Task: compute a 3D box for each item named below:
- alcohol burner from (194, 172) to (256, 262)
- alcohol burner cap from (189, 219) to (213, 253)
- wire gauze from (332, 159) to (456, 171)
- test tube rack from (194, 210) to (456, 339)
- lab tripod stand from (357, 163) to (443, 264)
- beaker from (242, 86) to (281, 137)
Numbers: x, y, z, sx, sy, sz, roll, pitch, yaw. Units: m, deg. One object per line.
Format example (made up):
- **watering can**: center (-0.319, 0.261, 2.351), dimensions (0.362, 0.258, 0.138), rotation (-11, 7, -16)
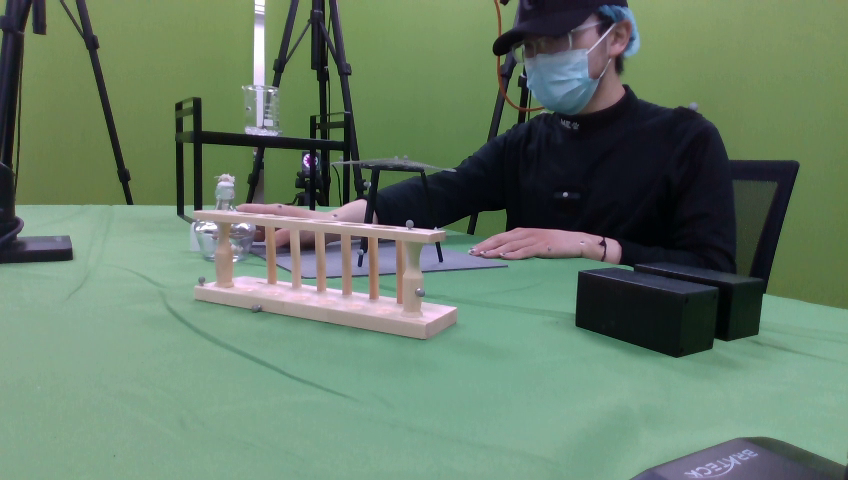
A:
- **alcohol burner**: center (-0.264, -0.030, 0.801), dimensions (0.078, 0.119, 0.078), rotation (1, 8, 0)
- **alcohol burner cap**: center (-0.322, -0.006, 0.874), dimensions (0.034, 0.048, 0.034), rotation (3, 7, 0)
- **wire gauze**: center (-0.042, -0.104, 0.819), dimensions (0.126, 0.011, 0.121), rotation (-3, 9, -44)
- **test tube rack**: center (-0.093, 0.023, 0.545), dimensions (0.241, 0.085, 0.067), rotation (6, 8, 25)
- **lab tripod stand**: center (-0.044, -0.038, 0.830), dimensions (0.148, 0.131, 0.148), rotation (4, 6, 0)
- **beaker**: center (-0.338, -0.265, 1.252), dimensions (0.073, 0.100, 0.084), rotation (8, 9, 38)
